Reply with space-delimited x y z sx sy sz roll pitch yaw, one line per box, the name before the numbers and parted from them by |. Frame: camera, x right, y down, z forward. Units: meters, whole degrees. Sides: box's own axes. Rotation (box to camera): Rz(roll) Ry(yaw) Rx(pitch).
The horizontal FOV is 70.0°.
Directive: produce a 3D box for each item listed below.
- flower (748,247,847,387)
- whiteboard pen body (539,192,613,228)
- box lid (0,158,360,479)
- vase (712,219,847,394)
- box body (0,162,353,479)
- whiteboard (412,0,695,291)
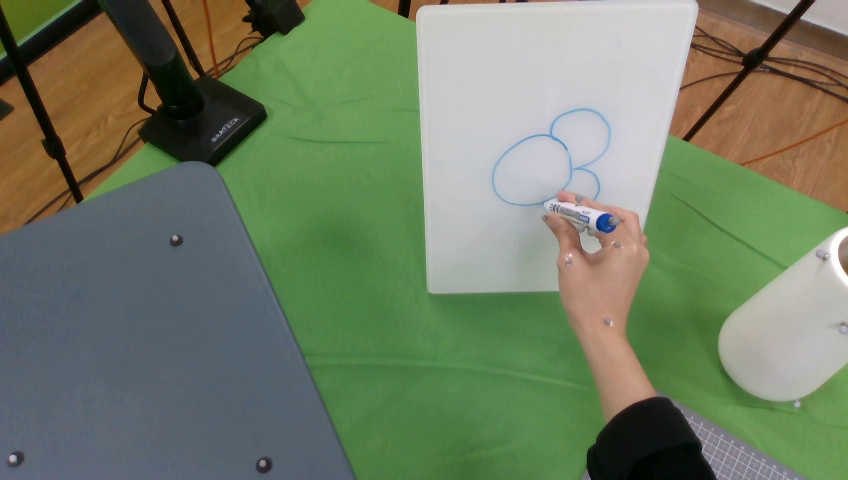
flower | 0.329 0.006 0.462 0.044 0.365 0.038 23 45 18
whiteboard pen body | 0.121 -0.028 0.507 0.017 0.140 0.017 -2 101 -9
box lid | -0.226 0.107 0.444 0.263 0.015 0.368 -25 62 -14
vase | 0.330 0.062 0.526 0.098 0.202 0.097 -1 58 2
box body | -0.223 0.147 0.507 0.254 0.162 0.360 -25 62 -13
whiteboard | 0.104 -0.109 0.604 0.217 0.308 0.142 -1 40 1
